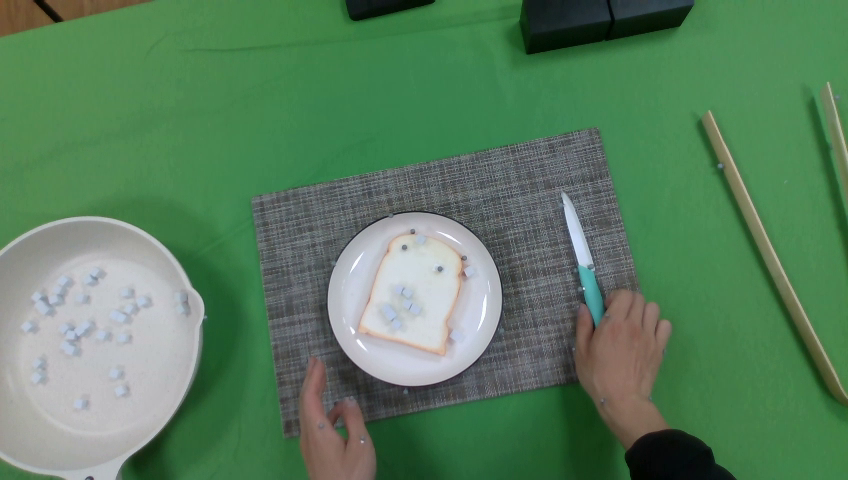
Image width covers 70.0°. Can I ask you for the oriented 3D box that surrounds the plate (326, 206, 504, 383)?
[{"bbox_3d":[-0.010,0.064,0.719,0.207,0.039,0.206,-1,79,3],"label":"plate"}]

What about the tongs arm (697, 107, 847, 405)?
[{"bbox_3d":[0.414,0.015,0.716,0.028,0.028,0.385,-20,79,-3],"label":"tongs arm"}]

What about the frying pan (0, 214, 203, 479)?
[{"bbox_3d":[-0.372,0.211,0.679,0.307,0.103,0.484,-15,71,1],"label":"frying pan"}]

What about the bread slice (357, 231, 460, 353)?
[{"bbox_3d":[-0.014,0.057,0.722,0.107,0.018,0.134,12,82,4],"label":"bread slice"}]

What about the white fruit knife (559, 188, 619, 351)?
[{"bbox_3d":[0.193,0.034,0.727,0.027,0.016,0.206,-7,76,-28],"label":"white fruit knife"}]

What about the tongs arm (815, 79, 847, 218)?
[{"bbox_3d":[0.492,-0.003,0.712,0.051,0.026,0.383,-8,80,2],"label":"tongs arm"}]
